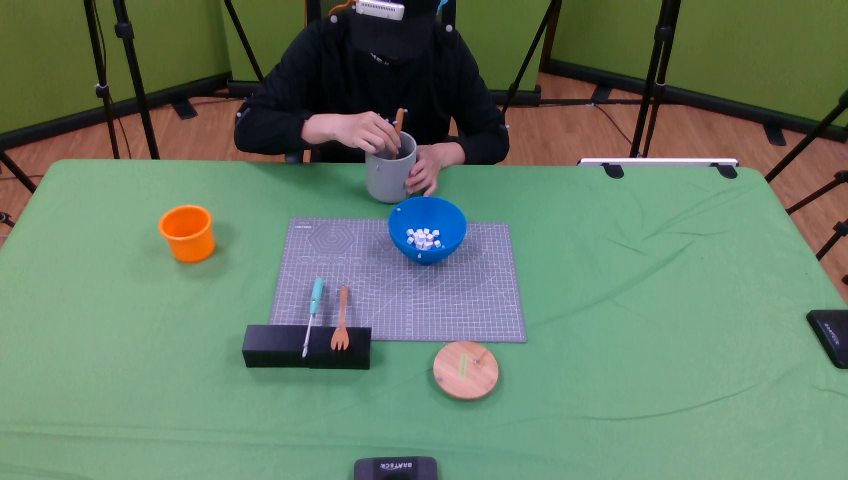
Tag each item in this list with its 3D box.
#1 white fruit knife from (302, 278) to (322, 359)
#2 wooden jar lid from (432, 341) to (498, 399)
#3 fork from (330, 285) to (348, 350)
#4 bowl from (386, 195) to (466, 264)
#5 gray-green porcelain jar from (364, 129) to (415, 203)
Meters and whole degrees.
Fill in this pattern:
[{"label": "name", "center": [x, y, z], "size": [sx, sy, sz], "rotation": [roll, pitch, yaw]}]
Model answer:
[{"label": "white fruit knife", "center": [-0.189, 0.126, 1.020], "size": [0.016, 0.027, 0.206], "rotation": [0, 33, -2]}, {"label": "wooden jar lid", "center": [0.067, 0.216, 0.997], "size": [0.108, 0.021, 0.107], "rotation": [1, 46, -1]}, {"label": "fork", "center": [-0.140, 0.127, 1.021], "size": [0.028, 0.019, 0.206], "rotation": [-5, 28, -2]}, {"label": "bowl", "center": [0.002, -0.007, 1.162], "size": [0.151, 0.077, 0.150], "rotation": [2, 46, -2]}, {"label": "gray-green porcelain jar", "center": [-0.073, -0.150, 1.264], "size": [0.106, 0.127, 0.105], "rotation": [2, 46, -2]}]
